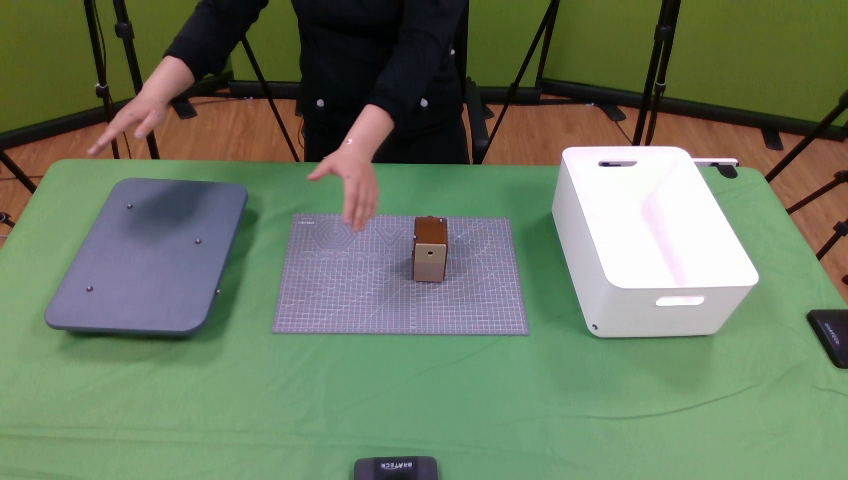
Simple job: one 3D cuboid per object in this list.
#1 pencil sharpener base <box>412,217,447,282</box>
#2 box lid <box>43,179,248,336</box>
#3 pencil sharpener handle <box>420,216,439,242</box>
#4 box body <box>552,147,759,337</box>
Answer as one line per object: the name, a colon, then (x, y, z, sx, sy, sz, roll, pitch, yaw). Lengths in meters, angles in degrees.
pencil sharpener base: (0.009, 0.017, 1.118, 0.061, 0.107, 0.076, 1, 45, -2)
box lid: (-0.484, 0.017, 1.093, 0.263, 0.015, 0.369, 2, 46, -2)
pencil sharpener handle: (0.009, -0.027, 1.145, 0.036, 0.068, 0.030, 3, 45, -3)
box body: (0.400, -0.001, 1.131, 0.254, 0.161, 0.361, -1, 46, -5)
